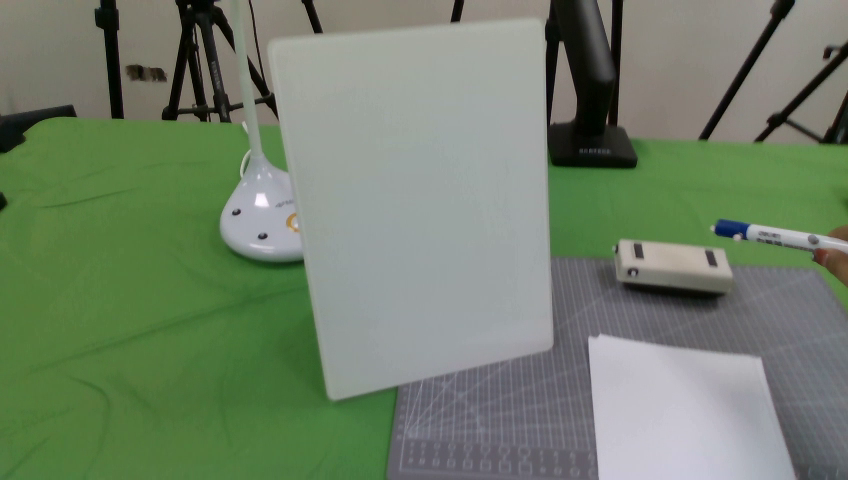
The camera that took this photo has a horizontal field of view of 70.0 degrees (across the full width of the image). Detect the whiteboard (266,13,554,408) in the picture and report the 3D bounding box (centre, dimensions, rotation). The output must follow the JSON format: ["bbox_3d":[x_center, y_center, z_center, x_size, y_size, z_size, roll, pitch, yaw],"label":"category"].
[{"bbox_3d":[-0.012,-0.036,0.563,0.218,0.307,0.142,-10,19,-13],"label":"whiteboard"}]

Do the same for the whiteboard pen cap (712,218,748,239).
[{"bbox_3d":[0.290,-0.010,0.567,0.018,0.018,0.033,-23,22,-28],"label":"whiteboard pen cap"}]

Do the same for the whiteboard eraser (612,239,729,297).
[{"bbox_3d":[0.261,0.031,0.647,0.112,0.042,0.055,7,38,8],"label":"whiteboard eraser"}]

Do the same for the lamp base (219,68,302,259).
[{"bbox_3d":[-0.174,-0.095,0.695,0.161,0.182,0.177,-30,44,-34],"label":"lamp base"}]

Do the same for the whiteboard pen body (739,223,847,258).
[{"bbox_3d":[0.321,0.000,0.520,0.017,0.017,0.139,-24,24,-30],"label":"whiteboard pen body"}]
